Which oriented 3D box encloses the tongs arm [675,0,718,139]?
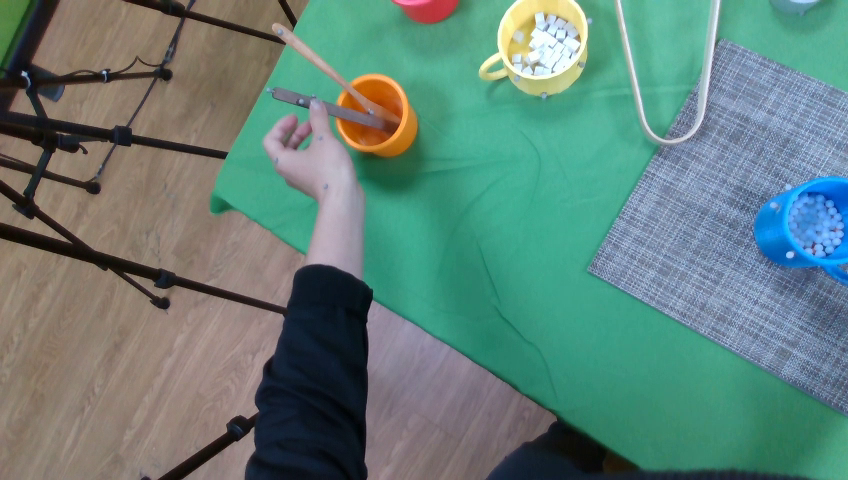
[{"bbox_3d":[0.308,-0.305,0.659,0.028,0.028,0.388,5,95,6],"label":"tongs arm"}]

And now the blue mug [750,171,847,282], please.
[{"bbox_3d":[0.394,-0.006,0.604,0.082,0.106,0.116,-35,80,10],"label":"blue mug"}]

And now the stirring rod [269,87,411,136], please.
[{"bbox_3d":[-0.095,-0.151,0.716,0.177,0.006,0.014,11,87,-27],"label":"stirring rod"}]

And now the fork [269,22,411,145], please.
[{"bbox_3d":[-0.095,-0.181,0.712,0.209,0.018,0.028,37,94,-31],"label":"fork"}]

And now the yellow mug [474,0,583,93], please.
[{"bbox_3d":[0.119,-0.223,0.705,0.131,0.064,0.099,-23,83,13],"label":"yellow mug"}]

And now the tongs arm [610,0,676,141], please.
[{"bbox_3d":[0.226,-0.299,0.676,0.050,0.026,0.385,-9,92,10],"label":"tongs arm"}]

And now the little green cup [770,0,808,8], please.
[{"bbox_3d":[0.400,-0.283,0.652,0.061,0.039,0.061,0,88,14],"label":"little green cup"}]
